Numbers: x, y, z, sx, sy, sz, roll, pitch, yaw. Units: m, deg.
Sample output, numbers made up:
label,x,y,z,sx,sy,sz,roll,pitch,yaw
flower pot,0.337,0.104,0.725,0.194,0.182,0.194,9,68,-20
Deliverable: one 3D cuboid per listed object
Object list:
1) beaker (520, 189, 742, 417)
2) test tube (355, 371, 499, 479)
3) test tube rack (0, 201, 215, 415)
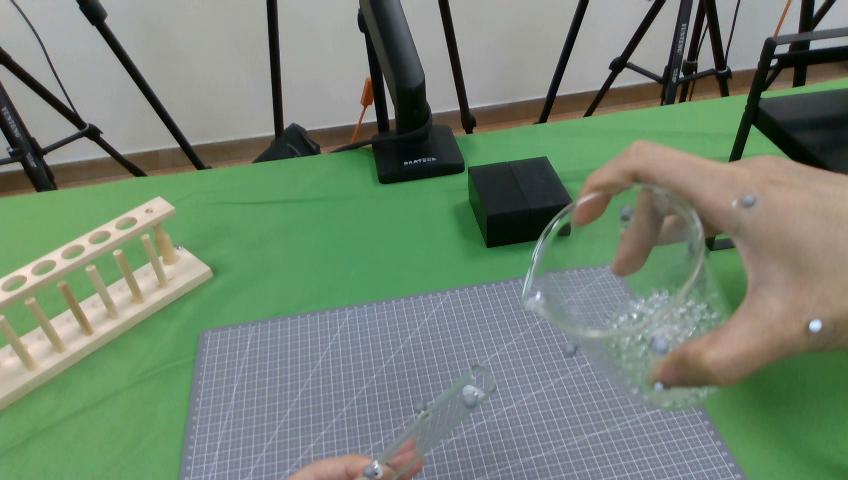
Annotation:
label,x,y,z,sx,sy,sz,roll,pitch,yaw
beaker,0.103,0.037,0.289,0.084,0.101,0.073,-27,44,21
test tube,-0.014,0.114,0.312,0.017,0.151,0.017,30,30,-19
test tube rack,-0.347,0.061,0.620,0.066,0.086,0.242,29,50,33
